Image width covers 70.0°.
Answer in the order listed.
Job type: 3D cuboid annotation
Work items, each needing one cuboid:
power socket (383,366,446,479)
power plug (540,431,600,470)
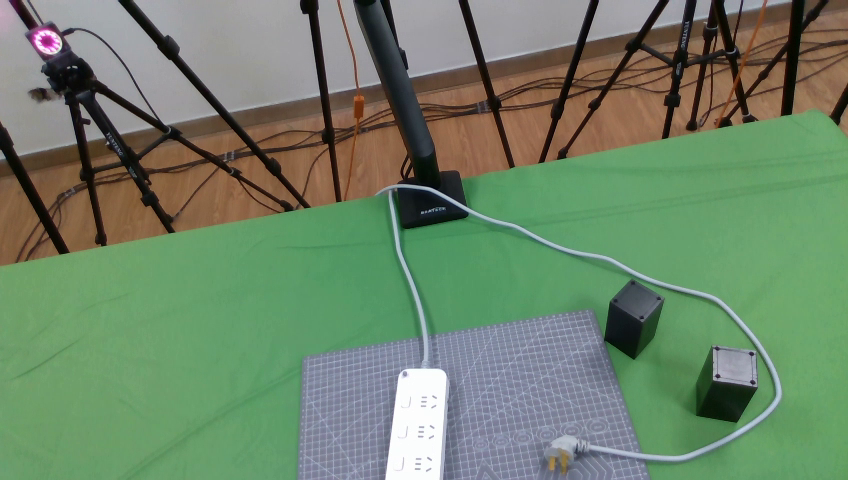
[{"bbox_3d":[-0.013,0.270,0.803,0.072,0.033,0.224,-1,50,8],"label":"power socket"},{"bbox_3d":[0.183,0.266,0.763,0.072,0.035,0.052,-5,31,21],"label":"power plug"}]
